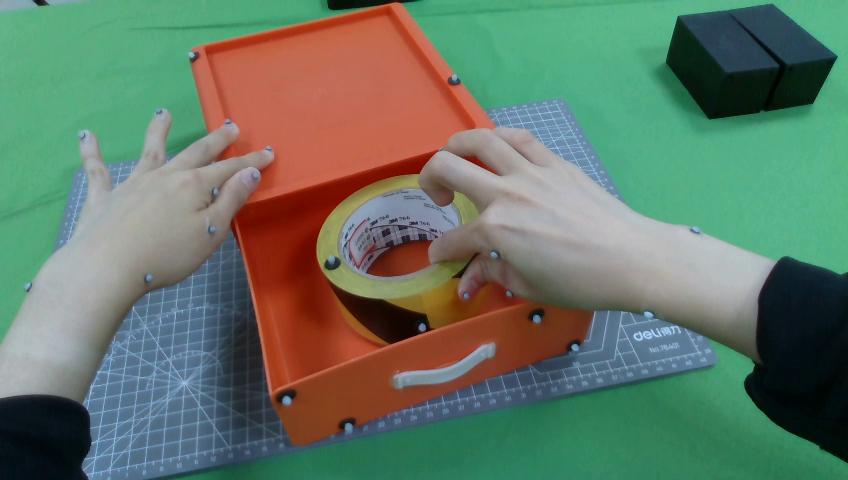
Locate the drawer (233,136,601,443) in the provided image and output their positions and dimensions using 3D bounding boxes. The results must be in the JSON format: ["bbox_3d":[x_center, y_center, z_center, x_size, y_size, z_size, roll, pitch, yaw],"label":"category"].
[{"bbox_3d":[-0.021,0.005,0.415,0.195,0.074,0.209,-17,50,-12],"label":"drawer"}]

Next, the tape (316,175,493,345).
[{"bbox_3d":[-0.013,0.011,0.407,0.117,0.053,0.115,-7,46,7],"label":"tape"}]

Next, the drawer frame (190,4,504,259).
[{"bbox_3d":[-0.071,-0.094,0.501,0.202,0.083,0.211,-19,50,-13],"label":"drawer frame"}]
